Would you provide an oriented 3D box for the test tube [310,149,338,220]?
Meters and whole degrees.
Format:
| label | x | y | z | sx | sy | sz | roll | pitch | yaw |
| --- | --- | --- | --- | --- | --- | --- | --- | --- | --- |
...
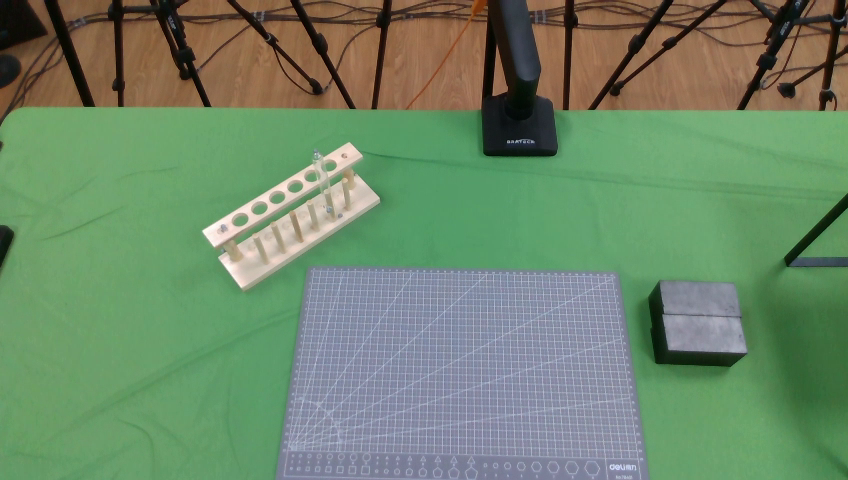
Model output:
| label | x | y | z | sx | sy | sz | roll | pitch | yaw |
| --- | --- | --- | --- | --- | --- | --- | --- | --- | --- |
| test tube | -0.138 | -0.074 | 0.843 | 0.017 | 0.151 | 0.017 | 0 | 58 | 1 |

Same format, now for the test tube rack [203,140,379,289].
| label | x | y | z | sx | sy | sz | roll | pitch | yaw |
| --- | --- | --- | --- | --- | --- | --- | --- | --- | --- |
| test tube rack | -0.183 | -0.038 | 0.874 | 0.242 | 0.086 | 0.066 | -35 | 65 | -18 |
